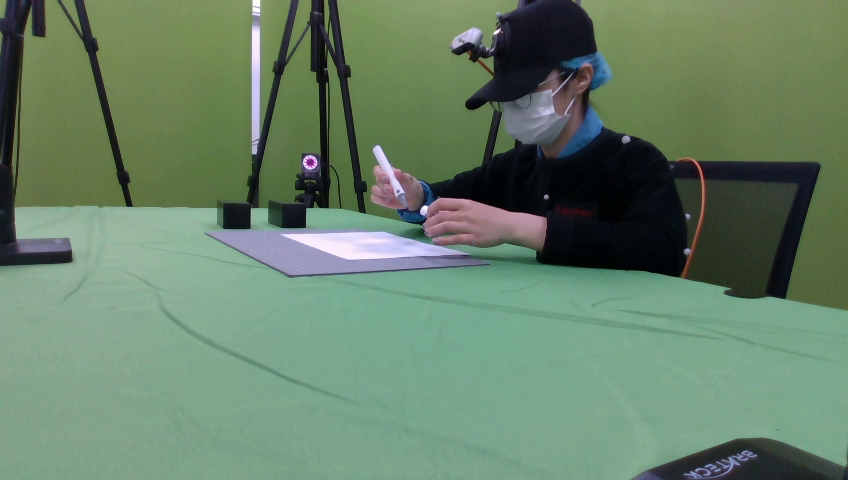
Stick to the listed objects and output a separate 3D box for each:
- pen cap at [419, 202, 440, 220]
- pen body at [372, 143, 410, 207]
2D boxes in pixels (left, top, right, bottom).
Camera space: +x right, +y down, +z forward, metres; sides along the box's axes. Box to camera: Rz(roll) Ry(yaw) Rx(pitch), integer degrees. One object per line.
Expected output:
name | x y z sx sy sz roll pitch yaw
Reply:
pen cap | 0.010 -0.044 0.941 0.017 0.017 0.038 -4 27 -40
pen body | -0.053 -0.107 1.002 0.017 0.017 0.143 -4 52 -37
